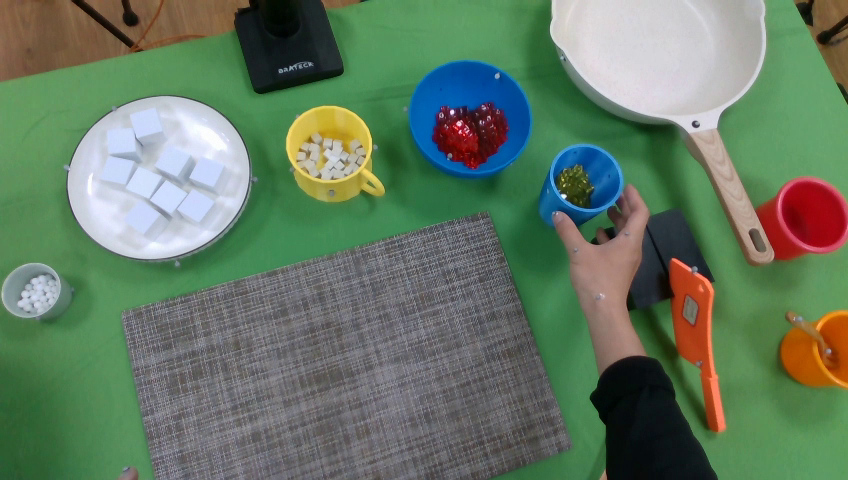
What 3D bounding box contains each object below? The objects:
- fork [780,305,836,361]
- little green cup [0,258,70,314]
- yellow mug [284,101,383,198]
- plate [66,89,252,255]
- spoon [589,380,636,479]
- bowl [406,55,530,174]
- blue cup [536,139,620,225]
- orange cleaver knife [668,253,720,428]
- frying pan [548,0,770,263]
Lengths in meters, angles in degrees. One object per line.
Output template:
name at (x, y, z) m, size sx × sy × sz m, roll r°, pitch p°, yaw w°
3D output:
fork at (0.442, 0.107, 0.692) m, size 0.209 × 0.018 × 0.028 m, roll 28°, pitch 69°, yaw -43°
little green cup at (-0.429, 0.054, 0.674) m, size 0.061 × 0.039 × 0.061 m, roll 2°, pitch 76°, yaw -6°
yellow mug at (-0.103, -0.100, 0.736) m, size 0.130 × 0.064 × 0.099 m, roll 36°, pitch 74°, yaw 3°
plate at (-0.310, -0.079, 0.724) m, size 0.208 × 0.039 × 0.206 m, roll 2°, pitch 75°, yaw -5°
spoon at (0.210, 0.249, 0.697) m, size 0.041 × 0.022 × 0.193 m, roll 24°, pitch 74°, yaw 14°
bowl at (0.050, -0.143, 0.757) m, size 0.151 × 0.077 × 0.150 m, roll 1°, pitch 75°, yaw -5°
blue cup at (0.178, -0.061, 0.734) m, size 0.093 × 0.100 × 0.092 m, roll 1°, pitch 73°, yaw -4°
orange cleaver knife at (0.315, 0.118, 0.712) m, size 0.012 × 0.076 × 0.212 m, roll -16°, pitch 106°, yaw -9°
frying pan at (0.329, -0.195, 0.785) m, size 0.307 × 0.103 × 0.484 m, roll -11°, pitch 68°, yaw -7°
